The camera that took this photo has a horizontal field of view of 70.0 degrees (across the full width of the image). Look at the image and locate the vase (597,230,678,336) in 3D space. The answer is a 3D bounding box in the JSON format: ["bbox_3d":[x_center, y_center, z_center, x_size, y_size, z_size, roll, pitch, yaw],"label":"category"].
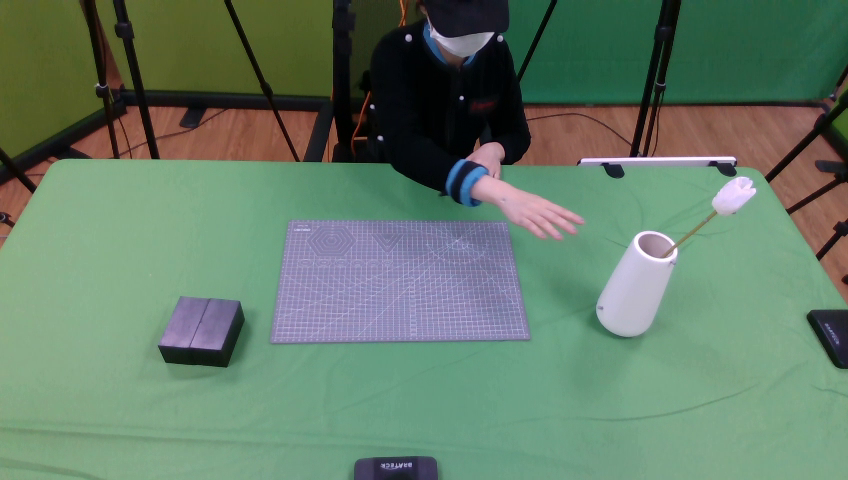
[{"bbox_3d":[0.360,0.077,1.026,0.098,0.201,0.097,1,47,-1],"label":"vase"}]

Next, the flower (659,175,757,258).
[{"bbox_3d":[0.385,0.024,0.965,0.038,0.363,0.044,38,47,7],"label":"flower"}]
